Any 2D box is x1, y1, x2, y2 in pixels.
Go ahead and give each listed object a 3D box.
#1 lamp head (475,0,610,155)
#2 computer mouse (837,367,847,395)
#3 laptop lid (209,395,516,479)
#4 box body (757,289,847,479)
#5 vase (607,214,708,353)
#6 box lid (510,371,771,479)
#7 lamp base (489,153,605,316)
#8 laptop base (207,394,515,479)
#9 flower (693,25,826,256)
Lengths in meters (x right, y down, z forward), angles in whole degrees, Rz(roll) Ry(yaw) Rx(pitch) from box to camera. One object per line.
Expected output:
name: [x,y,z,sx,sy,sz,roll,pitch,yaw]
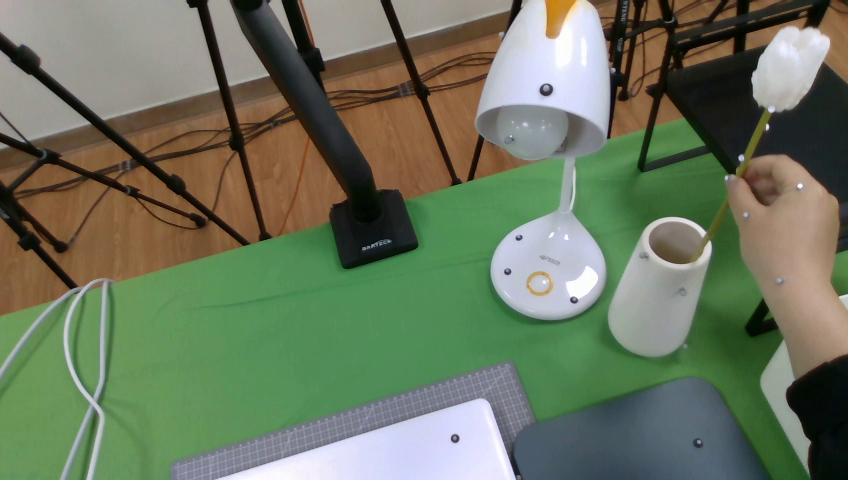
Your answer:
lamp head: [0.109,-0.145,0.522,0.112,0.113,0.122,9,75,14]
computer mouse: [0.502,0.196,0.681,0.062,0.041,0.116,15,55,20]
laptop lid: [-0.063,0.326,0.667,0.357,0.013,0.239,-15,57,-3]
box body: [0.539,0.223,0.587,0.254,0.162,0.360,-14,55,-2]
vase: [0.274,0.054,0.717,0.098,0.202,0.097,-4,54,6]
box lid: [0.268,0.331,0.639,0.263,0.015,0.367,-16,55,-5]
lamp base: [0.167,-0.019,0.794,0.160,0.182,0.178,12,55,16]
laptop base: [-0.062,0.329,0.677,0.354,0.023,0.233,-16,59,-4]
flower: [0.274,-0.033,0.559,0.044,0.365,0.038,-17,53,-6]
